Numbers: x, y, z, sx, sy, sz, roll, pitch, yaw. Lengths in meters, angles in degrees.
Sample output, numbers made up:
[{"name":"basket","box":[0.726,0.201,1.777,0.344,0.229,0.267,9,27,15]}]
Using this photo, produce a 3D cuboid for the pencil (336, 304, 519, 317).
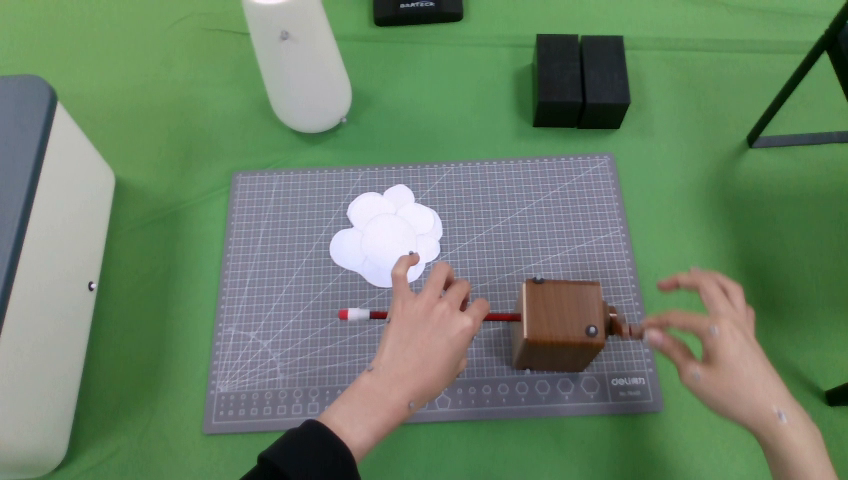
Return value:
[{"name":"pencil","box":[0.017,0.065,0.551,0.194,0.012,0.012,1,65,0]}]

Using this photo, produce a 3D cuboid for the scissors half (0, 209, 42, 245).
[{"name":"scissors half","box":[-0.513,0.010,0.663,0.175,0.040,0.012,-28,36,-13]}]

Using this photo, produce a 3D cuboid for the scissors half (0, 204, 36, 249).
[{"name":"scissors half","box":[-0.507,0.020,0.671,0.175,0.040,0.012,-36,31,-6]}]

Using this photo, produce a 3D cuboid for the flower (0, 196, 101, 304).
[{"name":"flower","box":[-0.469,0.071,0.659,0.038,0.044,0.359,-10,39,33]}]

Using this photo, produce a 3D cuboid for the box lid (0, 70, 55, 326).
[{"name":"box lid","box":[-0.475,0.006,0.513,0.263,0.015,0.368,-4,65,-1]}]

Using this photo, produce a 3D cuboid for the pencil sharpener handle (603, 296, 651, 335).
[{"name":"pencil sharpener handle","box":[0.174,0.071,0.531,0.030,0.067,0.036,2,97,2]}]

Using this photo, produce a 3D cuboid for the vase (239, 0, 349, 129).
[{"name":"vase","box":[-0.144,-0.212,0.667,0.098,0.201,0.097,-1,64,3]}]

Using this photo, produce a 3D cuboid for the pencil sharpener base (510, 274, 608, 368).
[{"name":"pencil sharpener base","box":[0.125,0.079,0.573,0.076,0.108,0.061,2,65,2]}]

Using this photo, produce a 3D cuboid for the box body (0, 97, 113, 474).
[{"name":"box body","box":[-0.473,0.041,0.581,0.254,0.161,0.361,-4,65,0]}]
